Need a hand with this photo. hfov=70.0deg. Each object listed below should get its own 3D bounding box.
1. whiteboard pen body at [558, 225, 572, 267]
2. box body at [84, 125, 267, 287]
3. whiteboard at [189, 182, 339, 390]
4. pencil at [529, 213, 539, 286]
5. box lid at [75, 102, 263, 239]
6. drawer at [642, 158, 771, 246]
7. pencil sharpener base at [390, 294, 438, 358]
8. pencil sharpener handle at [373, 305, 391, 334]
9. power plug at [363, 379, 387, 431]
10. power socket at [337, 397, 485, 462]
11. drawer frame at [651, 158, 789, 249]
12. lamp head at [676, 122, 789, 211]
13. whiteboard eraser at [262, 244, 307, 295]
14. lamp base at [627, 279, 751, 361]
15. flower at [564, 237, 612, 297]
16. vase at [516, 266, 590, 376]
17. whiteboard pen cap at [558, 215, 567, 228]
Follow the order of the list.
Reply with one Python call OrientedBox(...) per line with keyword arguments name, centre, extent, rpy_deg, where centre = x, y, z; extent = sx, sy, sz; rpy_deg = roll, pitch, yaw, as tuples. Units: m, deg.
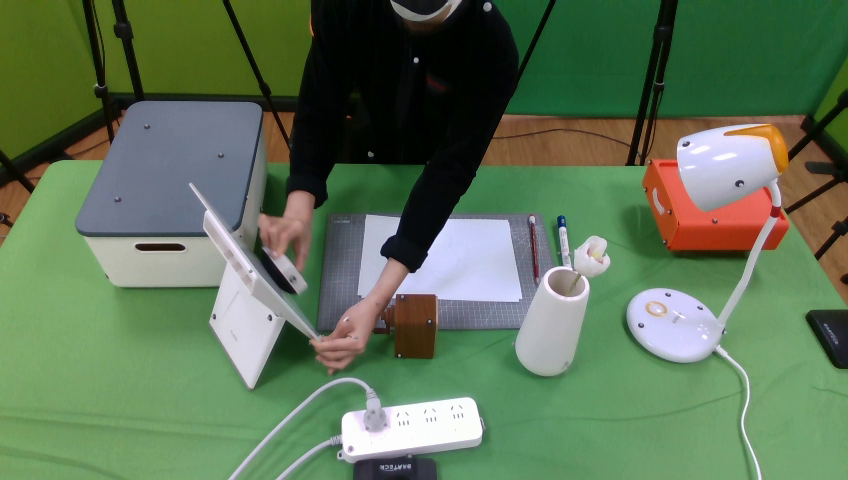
OrientedBox(name="whiteboard pen body", centre=(0.280, 0.010, 1.207), extent=(0.017, 0.017, 0.140), rpy_deg=(3, 50, -1))
OrientedBox(name="box body", centre=(-0.446, -0.088, 1.150), extent=(0.254, 0.161, 0.361), rpy_deg=(-1, 46, -5))
OrientedBox(name="whiteboard", centre=(-0.292, 0.096, 0.929), extent=(0.144, 0.307, 0.216), rpy_deg=(-37, 57, -10))
OrientedBox(name="pencil", centre=(0.219, 0.016, 1.204), extent=(0.012, 0.012, 0.193), rpy_deg=(5, 47, 0))
OrientedBox(name="box lid", centre=(-0.443, -0.138, 1.094), extent=(0.263, 0.015, 0.369), rpy_deg=(-1, 47, -5))
OrientedBox(name="drawer", centre=(0.565, -0.076, 1.211), extent=(0.212, 0.073, 0.193), rpy_deg=(2, 45, -2))
OrientedBox(name="pencil sharpener base", centre=(-0.018, 0.143, 1.000), extent=(0.077, 0.107, 0.061), rpy_deg=(1, 46, -2))
OrientedBox(name="pencil sharpener handle", centre=(-0.068, 0.133, 0.989), extent=(0.030, 0.068, 0.036), rpy_deg=(1, 47, -2))
OrientedBox(name="power plug", centre=(-0.072, 0.252, 0.910), extent=(0.035, 0.053, 0.072), rpy_deg=(3, 45, -1))
OrientedBox(name="power socket", centre=(-0.018, 0.285, 0.915), extent=(0.227, 0.033, 0.071), rpy_deg=(-5, 46, -8))
OrientedBox(name="drawer frame", centre=(0.571, -0.075, 1.214), extent=(0.214, 0.083, 0.200), rpy_deg=(0, 46, -1))
OrientedBox(name="lamp head", centre=(0.423, -0.104, 0.819), extent=(0.122, 0.113, 0.112), rpy_deg=(-13, 33, 40))
OrientedBox(name="whiteboard eraser", centre=(-0.236, 0.050, 1.005), extent=(0.042, 0.056, 0.112), rpy_deg=(-39, 34, -10))
OrientedBox(name="lamp base", centre=(0.459, 0.100, 1.027), extent=(0.178, 0.181, 0.160), rpy_deg=(27, 51, 17))
OrientedBox(name="flower", centre=(0.206, 0.088, 0.893), extent=(0.038, 0.363, 0.044), rpy_deg=(-16, 67, -9))
OrientedBox(name="vase", centre=(0.208, 0.132, 0.964), extent=(0.098, 0.201, 0.097), rpy_deg=(3, 46, -3))
OrientedBox(name="whiteboard pen cap", centre=(0.284, -0.035, 1.245), extent=(0.018, 0.018, 0.033), rpy_deg=(4, 52, -1))
